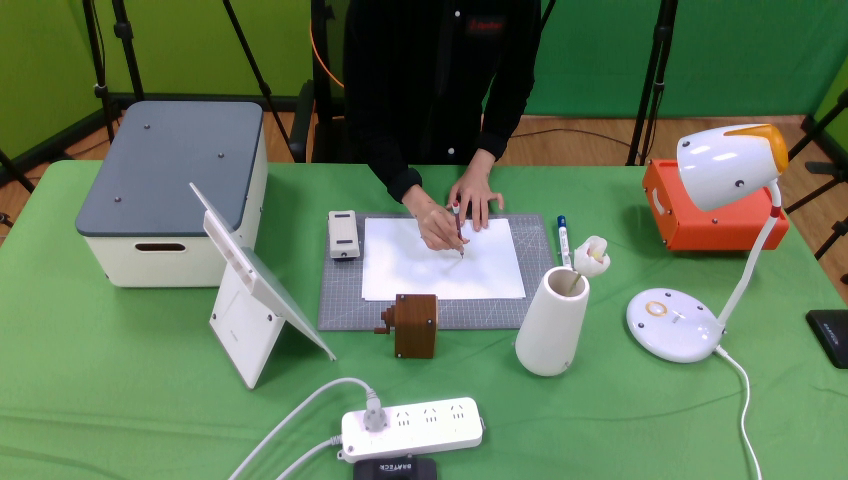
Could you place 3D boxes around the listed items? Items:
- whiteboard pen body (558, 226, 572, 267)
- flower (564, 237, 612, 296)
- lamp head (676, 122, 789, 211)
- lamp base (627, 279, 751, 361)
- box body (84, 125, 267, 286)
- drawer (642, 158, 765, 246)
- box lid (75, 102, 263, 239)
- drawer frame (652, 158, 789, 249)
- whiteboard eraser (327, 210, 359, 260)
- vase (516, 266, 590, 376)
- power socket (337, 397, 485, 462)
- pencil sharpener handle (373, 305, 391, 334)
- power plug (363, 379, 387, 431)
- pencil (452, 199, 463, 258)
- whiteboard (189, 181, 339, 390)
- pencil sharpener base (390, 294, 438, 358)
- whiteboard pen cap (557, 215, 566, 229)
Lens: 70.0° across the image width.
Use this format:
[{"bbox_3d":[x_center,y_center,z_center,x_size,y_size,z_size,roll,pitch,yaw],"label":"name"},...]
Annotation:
[{"bbox_3d":[0.280,0.010,1.208,0.017,0.017,0.140,3,50,-1],"label":"whiteboard pen body"},{"bbox_3d":[0.206,0.088,0.893,0.038,0.363,0.044,-17,67,-9],"label":"flower"},{"bbox_3d":[0.423,-0.104,0.819,0.122,0.113,0.112,-13,33,40],"label":"lamp head"},{"bbox_3d":[0.459,0.100,1.027,0.178,0.181,0.160,27,51,17],"label":"lamp base"},{"bbox_3d":[-0.446,-0.088,1.150,0.254,0.161,0.361,-1,46,-5],"label":"box body"},{"bbox_3d":[0.565,-0.076,1.211,0.212,0.073,0.193,2,45,-2],"label":"drawer"},{"bbox_3d":[-0.443,-0.138,1.094,0.263,0.015,0.369,-1,47,-5],"label":"box lid"},{"bbox_3d":[0.571,-0.075,1.214,0.214,0.083,0.200,0,45,-1],"label":"drawer frame"},{"bbox_3d":[-0.159,-0.009,1.177,0.055,0.042,0.112,-6,47,-7],"label":"whiteboard eraser"},{"bbox_3d":[0.208,0.132,0.965,0.098,0.201,0.097,3,46,-3],"label":"vase"},{"bbox_3d":[-0.018,0.285,0.915,0.227,0.033,0.071,-5,46,-8],"label":"power socket"},{"bbox_3d":[-0.069,0.133,0.989,0.030,0.068,0.036,1,47,-2],"label":"pencil sharpener handle"},{"bbox_3d":[-0.072,0.252,0.910,0.035,0.053,0.072,3,45,-1],"label":"power plug"},{"bbox_3d":[0.063,-0.015,1.095,0.012,0.195,0.012,-3,59,5],"label":"pencil"},{"bbox_3d":[-0.292,0.096,0.929,0.144,0.307,0.216,-37,57,-10],"label":"whiteboard"},{"bbox_3d":[-0.018,0.143,1.000,0.077,0.107,0.061,1,46,-2],"label":"pencil sharpener base"},{"bbox_3d":[0.284,-0.035,1.246,0.018,0.018,0.033,4,52,-1],"label":"whiteboard pen cap"}]
